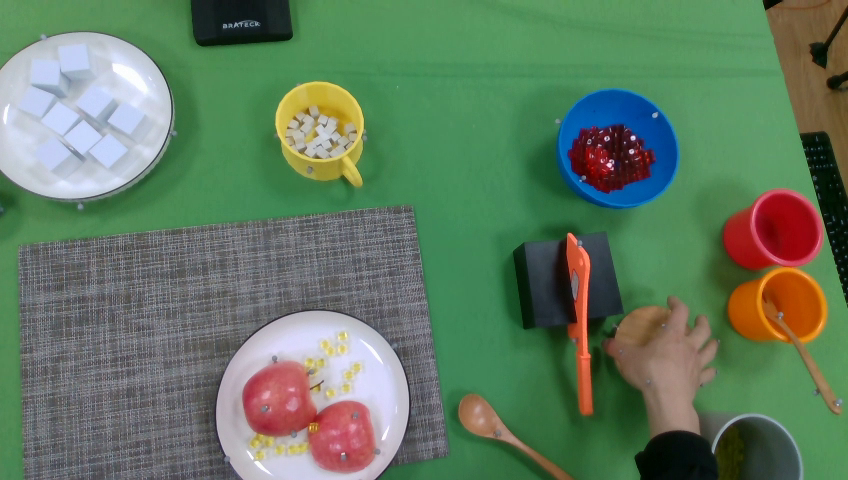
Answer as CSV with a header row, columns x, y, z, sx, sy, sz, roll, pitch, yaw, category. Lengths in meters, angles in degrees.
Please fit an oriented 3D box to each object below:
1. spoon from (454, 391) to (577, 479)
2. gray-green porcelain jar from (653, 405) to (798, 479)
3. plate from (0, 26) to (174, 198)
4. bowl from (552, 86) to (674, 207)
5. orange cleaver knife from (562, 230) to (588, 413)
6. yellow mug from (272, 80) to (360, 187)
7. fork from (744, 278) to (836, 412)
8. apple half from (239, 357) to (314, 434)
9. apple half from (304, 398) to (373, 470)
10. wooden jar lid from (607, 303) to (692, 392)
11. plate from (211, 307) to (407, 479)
x,y,z,sx,sy,sz,roll,pitch,yaw,category
0.114,0.241,0.701,0.194,0.022,0.041,35,59,1,spoon
0.327,0.240,0.677,0.106,0.127,0.105,2,77,-7,gray-green porcelain jar
-0.396,-0.145,0.704,0.208,0.039,0.206,2,78,-7,plate
0.224,-0.106,0.760,0.152,0.077,0.150,2,78,-7,bowl
0.176,0.096,0.709,0.012,0.077,0.212,-6,103,-6,orange cleaver knife
-0.118,-0.118,0.722,0.100,0.064,0.130,-36,86,-14,yellow mug
0.421,0.114,0.704,0.028,0.019,0.205,9,34,-6,fork
-0.160,0.168,0.651,0.075,0.053,0.080,-10,81,-7,apple half
-0.094,0.213,0.660,0.081,0.033,0.081,2,75,-7,apple half
0.276,0.133,0.748,0.108,0.021,0.108,2,78,-7,wooden jar lid
-0.124,0.178,0.670,0.209,0.038,0.208,2,79,-8,plate
